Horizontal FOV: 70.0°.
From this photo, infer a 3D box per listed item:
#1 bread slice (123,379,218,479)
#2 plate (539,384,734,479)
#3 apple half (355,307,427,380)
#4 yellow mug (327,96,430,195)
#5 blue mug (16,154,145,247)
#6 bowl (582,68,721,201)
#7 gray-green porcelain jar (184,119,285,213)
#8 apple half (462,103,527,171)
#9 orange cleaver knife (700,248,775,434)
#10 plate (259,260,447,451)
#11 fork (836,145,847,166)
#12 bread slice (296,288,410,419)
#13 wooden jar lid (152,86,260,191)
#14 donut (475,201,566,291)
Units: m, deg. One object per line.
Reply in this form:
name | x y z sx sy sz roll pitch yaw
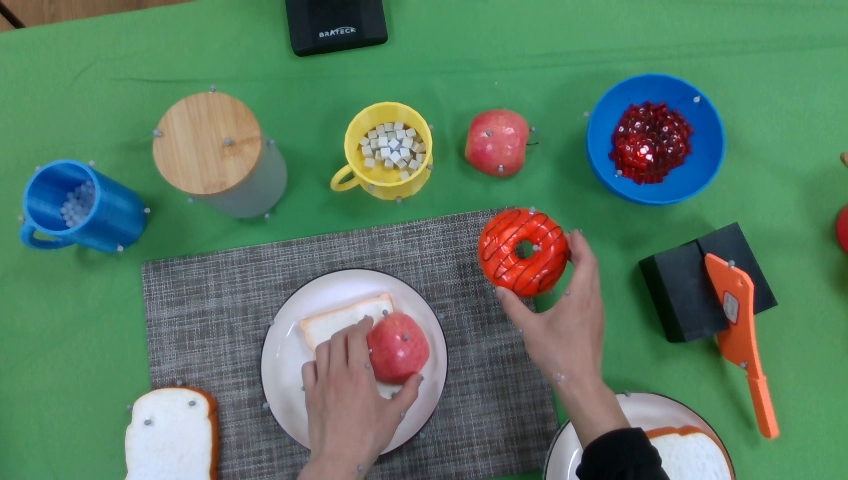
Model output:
bread slice | -0.284 0.223 0.677 0.105 0.019 0.131 -2 82 -1
plate | 0.227 0.262 0.660 0.209 0.038 0.208 0 81 0
apple half | -0.034 0.114 0.660 0.081 0.033 0.081 0 79 -1
yellow mug | -0.056 -0.100 0.705 0.131 0.064 0.099 -33 82 -4
blue mug | -0.390 -0.032 0.676 0.116 0.106 0.082 -35 82 -5
bowl | 0.250 -0.111 0.699 0.151 0.077 0.151 0 81 1
gray-green porcelain jar | -0.217 -0.090 0.674 0.106 0.127 0.105 0 80 1
apple half | 0.084 -0.127 0.715 0.074 0.053 0.080 13 82 5
orange cleaver knife | 0.341 0.110 0.661 0.012 0.077 0.212 -20 103 -10
plate | -0.078 0.127 0.680 0.208 0.039 0.207 0 81 1
fork | 0.484 -0.049 0.652 0.209 0.018 0.028 29 79 -37
bread slice | -0.071 0.130 0.678 0.107 0.018 0.134 -19 84 -3
wooden jar lid | -0.218 -0.101 0.613 0.108 0.021 0.108 0 79 1
donut | 0.103 0.006 0.653 0.099 0.048 0.098 0 81 -1
